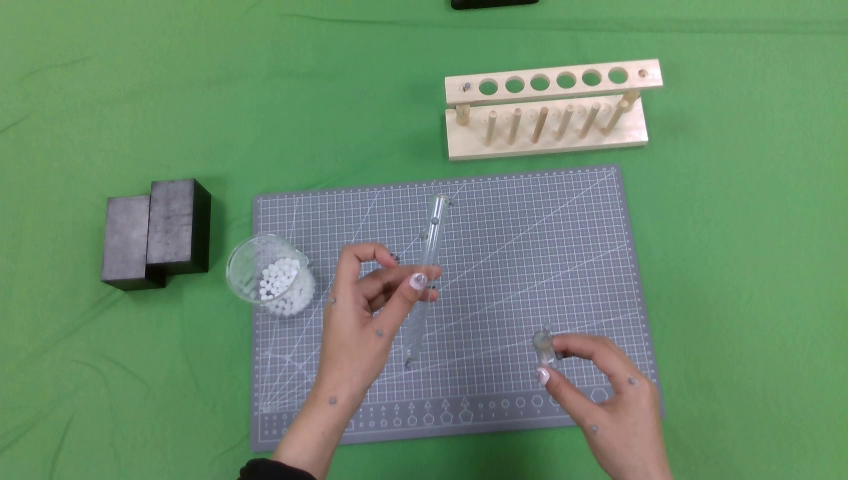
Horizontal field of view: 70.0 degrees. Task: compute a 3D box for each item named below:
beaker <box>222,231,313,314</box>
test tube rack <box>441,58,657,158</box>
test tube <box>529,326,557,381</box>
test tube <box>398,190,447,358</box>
[{"bbox_3d":[-0.163,0.039,0.662,0.084,0.101,0.073,-12,73,-2],"label":"beaker"},{"bbox_3d":[0.143,-0.154,0.719,0.242,0.085,0.066,-4,73,1],"label":"test tube rack"},{"bbox_3d":[0.104,0.100,0.518,0.017,0.152,0.017,-5,66,13],"label":"test tube"},{"bbox_3d":[-0.003,0.031,0.518,0.017,0.017,0.150,13,103,6],"label":"test tube"}]
